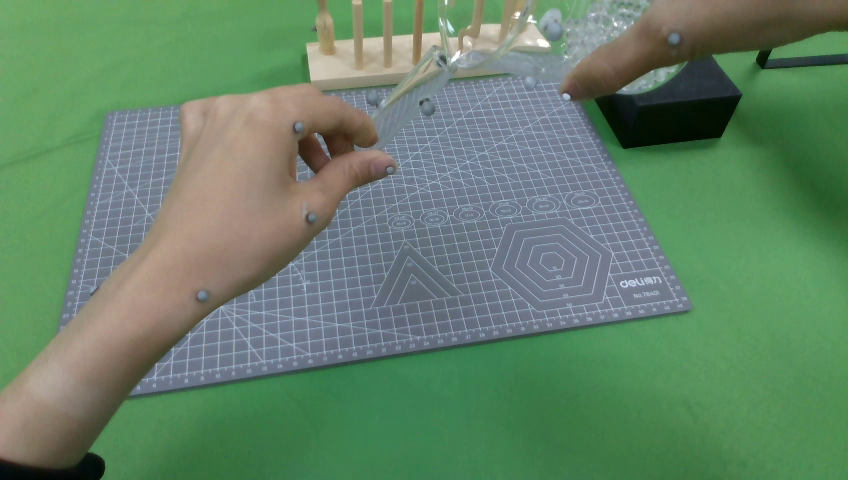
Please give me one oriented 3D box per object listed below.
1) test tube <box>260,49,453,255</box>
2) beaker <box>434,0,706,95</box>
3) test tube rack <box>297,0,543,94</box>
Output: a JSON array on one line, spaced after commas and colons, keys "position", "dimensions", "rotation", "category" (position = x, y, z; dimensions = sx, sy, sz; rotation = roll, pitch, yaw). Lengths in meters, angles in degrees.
[{"position": [-0.040, -0.038, 0.308], "dimensions": [0.017, 0.150, 0.017], "rotation": [34, 33, -25], "category": "test tube"}, {"position": [0.064, -0.103, 0.268], "dimensions": [0.101, 0.084, 0.073], "rotation": [0, 52, -28], "category": "beaker"}, {"position": [0.000, -0.212, 0.607], "dimensions": [0.243, 0.086, 0.066], "rotation": [-8, 51, -8], "category": "test tube rack"}]
